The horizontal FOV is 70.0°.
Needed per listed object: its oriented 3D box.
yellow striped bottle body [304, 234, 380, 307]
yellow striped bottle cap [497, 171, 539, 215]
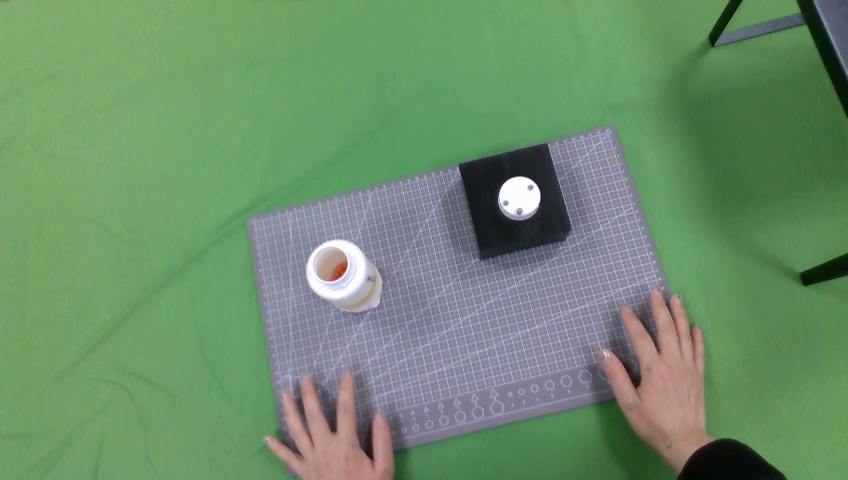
[{"bbox_3d":[-0.086,0.032,0.636,0.063,0.121,0.062,-1,76,5],"label":"yellow striped bottle body"},{"bbox_3d":[0.099,-0.050,0.642,0.044,0.019,0.044,-1,79,4],"label":"yellow striped bottle cap"}]
